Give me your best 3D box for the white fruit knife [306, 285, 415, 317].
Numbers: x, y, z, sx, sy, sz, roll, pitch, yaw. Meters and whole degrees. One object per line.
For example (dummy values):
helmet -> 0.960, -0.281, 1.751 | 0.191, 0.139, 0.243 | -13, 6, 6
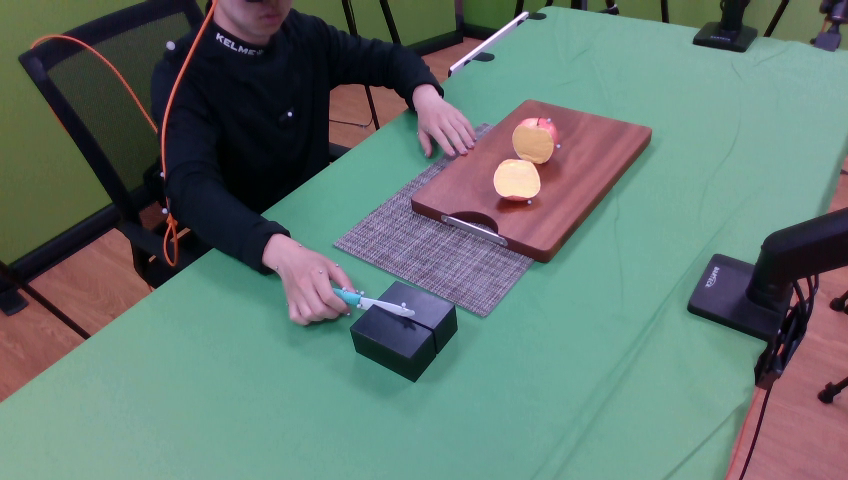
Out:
white fruit knife -> -0.092, 0.085, 0.837 | 0.206, 0.027, 0.016 | 6, 37, 37

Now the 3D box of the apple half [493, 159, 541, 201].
apple half -> 0.153, -0.095, 0.999 | 0.081, 0.033, 0.081 | -1, 64, 2

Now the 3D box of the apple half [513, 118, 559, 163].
apple half -> 0.202, -0.180, 1.066 | 0.080, 0.075, 0.053 | 14, 41, 29
